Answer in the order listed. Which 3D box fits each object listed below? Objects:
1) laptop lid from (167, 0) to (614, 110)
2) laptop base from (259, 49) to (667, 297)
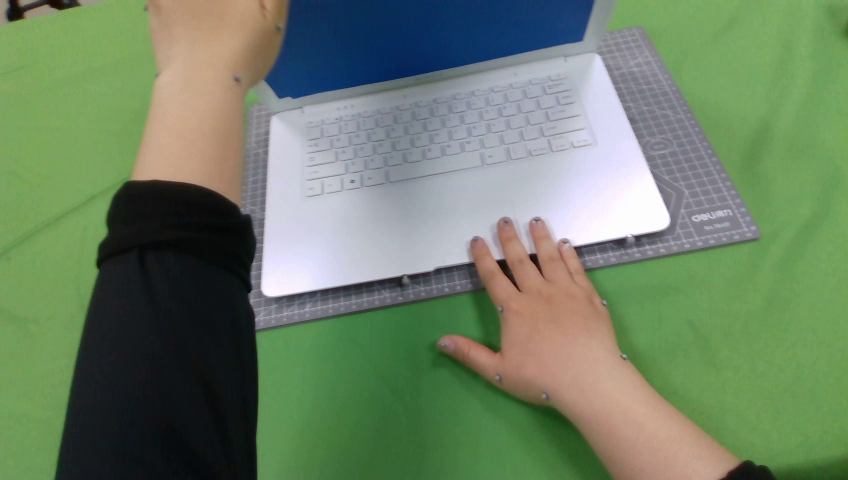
[{"bbox_3d":[-0.006,-0.190,0.529,0.356,0.242,0.013,-10,80,5],"label":"laptop lid"},{"bbox_3d":[0.019,-0.072,0.579,0.354,0.023,0.233,-10,57,3],"label":"laptop base"}]
